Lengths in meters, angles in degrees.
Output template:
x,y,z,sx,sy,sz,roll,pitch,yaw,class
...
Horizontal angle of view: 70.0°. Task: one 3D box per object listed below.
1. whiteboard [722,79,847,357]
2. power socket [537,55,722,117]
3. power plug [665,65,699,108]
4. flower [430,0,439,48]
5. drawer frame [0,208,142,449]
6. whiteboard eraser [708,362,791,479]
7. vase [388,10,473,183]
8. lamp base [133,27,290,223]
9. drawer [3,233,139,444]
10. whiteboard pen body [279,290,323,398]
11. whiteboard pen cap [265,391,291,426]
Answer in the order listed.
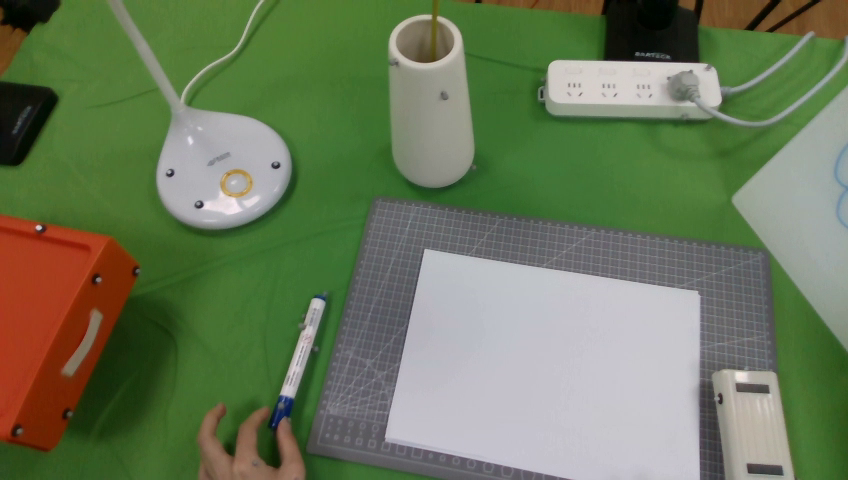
x,y,z,sx,sy,sz,roll,pitch,yaw,class
0.490,-0.062,0.568,0.144,0.307,0.215,-12,61,-25,whiteboard
0.257,-0.194,0.761,0.226,0.033,0.071,3,64,3,power socket
0.305,-0.176,0.725,0.035,0.053,0.072,12,66,9,power plug
0.010,-0.200,0.590,0.038,0.365,0.043,-3,45,-6,flower
-0.424,0.072,0.581,0.213,0.083,0.200,12,65,6,drawer frame
0.302,0.173,0.568,0.055,0.042,0.112,4,64,2,whiteboard eraser
0.004,-0.148,0.656,0.098,0.201,0.097,-2,62,3,vase
-0.255,-0.134,0.669,0.178,0.182,0.160,40,71,23,lamp base
-0.418,0.071,0.579,0.211,0.074,0.193,11,65,8,drawer
-0.130,0.115,0.627,0.017,0.017,0.140,9,61,7,whiteboard pen body
-0.144,0.166,0.600,0.018,0.018,0.033,13,59,9,whiteboard pen cap
